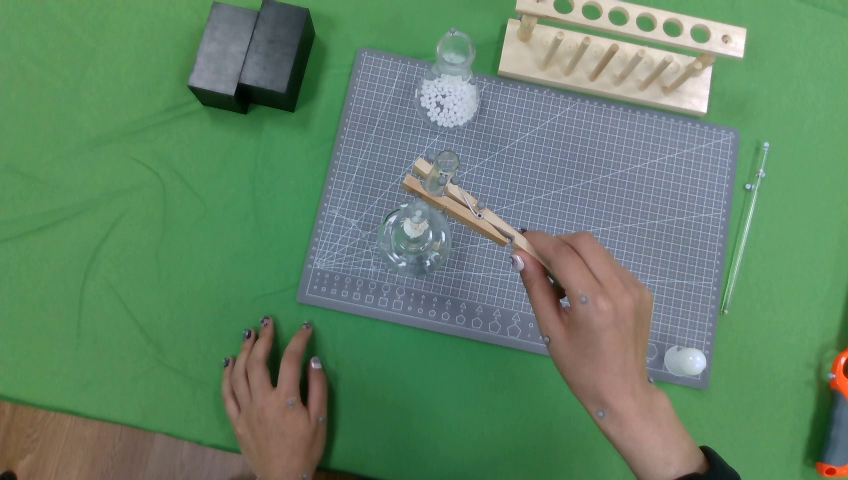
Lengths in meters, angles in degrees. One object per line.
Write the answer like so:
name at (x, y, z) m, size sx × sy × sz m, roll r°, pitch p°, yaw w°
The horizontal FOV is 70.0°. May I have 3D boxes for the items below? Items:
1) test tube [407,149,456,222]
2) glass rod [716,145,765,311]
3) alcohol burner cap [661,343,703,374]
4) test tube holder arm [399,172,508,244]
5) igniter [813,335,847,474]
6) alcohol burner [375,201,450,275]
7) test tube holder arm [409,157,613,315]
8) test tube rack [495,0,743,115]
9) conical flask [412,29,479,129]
test tube at (0.003, -0.036, 0.450) m, size 0.017 × 0.150 × 0.017 m, roll 2°, pitch 79°, yaw -8°
glass rod at (0.356, -0.015, 0.681) m, size 0.008 × 0.008 × 0.199 m, roll 19°, pitch 82°, yaw 1°
alcohol burner cap at (0.272, 0.123, 0.634) m, size 0.034 × 0.048 × 0.033 m, roll 0°, pitch 79°, yaw -2°
test tube holder arm at (0.022, -0.022, 0.436) m, size 0.088 × 0.015 × 0.010 m, roll 29°, pitch 80°, yaw -2°
igniter at (0.469, 0.118, 0.654) m, size 0.057 × 0.025 × 0.275 m, roll 22°, pitch 80°, yaw -9°
alcohol burner at (-0.012, -0.006, 0.606) m, size 0.078 × 0.119 × 0.077 m, roll 0°, pitch 78°, yaw -1°
test tube holder arm at (0.063, -0.002, 0.438) m, size 0.178 × 0.015 × 0.013 m, roll 36°, pitch 81°, yaw 0°
test tube rack at (0.209, -0.208, 0.669) m, size 0.242 × 0.085 × 0.066 m, roll 12°, pitch 80°, yaw -1°
conical flask at (0.026, -0.171, 0.632) m, size 0.075 × 0.122 × 0.075 m, roll 0°, pitch 80°, yaw -2°
